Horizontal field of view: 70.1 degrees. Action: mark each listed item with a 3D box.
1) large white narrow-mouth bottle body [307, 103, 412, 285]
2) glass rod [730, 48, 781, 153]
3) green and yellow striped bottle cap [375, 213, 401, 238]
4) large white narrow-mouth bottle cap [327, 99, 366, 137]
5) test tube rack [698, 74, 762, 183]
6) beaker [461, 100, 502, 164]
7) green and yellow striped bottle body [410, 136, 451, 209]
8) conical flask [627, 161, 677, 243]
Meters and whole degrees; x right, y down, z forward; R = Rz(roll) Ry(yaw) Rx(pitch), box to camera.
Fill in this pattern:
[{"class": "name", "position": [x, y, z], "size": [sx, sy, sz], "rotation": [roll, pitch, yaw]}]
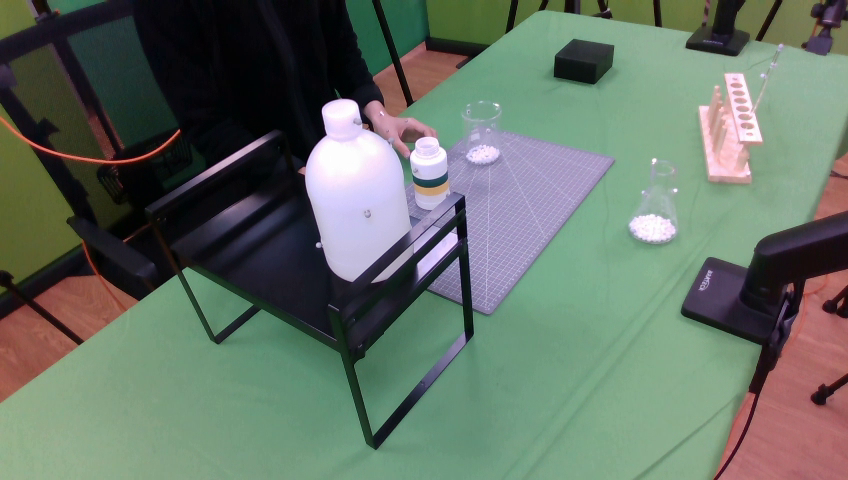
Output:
[{"class": "large white narrow-mouth bottle body", "position": [-0.070, -0.051, 0.637], "size": [0.102, 0.195, 0.101], "rotation": [-3, 40, 3]}, {"class": "glass rod", "position": [0.554, -0.228, 1.015], "size": [0.008, 0.200, 0.008], "rotation": [1, 44, -1]}, {"class": "green and yellow striped bottle cap", "position": [-0.061, -0.025, 1.016], "size": [0.045, 0.020, 0.045], "rotation": [-2, 41, 2]}, {"class": "large white narrow-mouth bottle cap", "position": [-0.075, -0.118, 0.582], "size": [0.038, 0.024, 0.037], "rotation": [-3, 40, 3]}, {"class": "test tube rack", "position": [0.547, -0.208, 1.095], "size": [0.066, 0.085, 0.242], "rotation": [5, 42, 15]}, {"class": "beaker", "position": [0.111, -0.200, 1.132], "size": [0.084, 0.101, 0.073], "rotation": [-27, 45, -22]}, {"class": "green and yellow striped bottle body", "position": [0.011, -0.117, 1.032], "size": [0.063, 0.120, 0.063], "rotation": [-4, 40, 4]}, {"class": "conical flask", "position": [0.355, -0.061, 0.921], "size": [0.075, 0.122, 0.075], "rotation": [-4, 41, 4]}]
